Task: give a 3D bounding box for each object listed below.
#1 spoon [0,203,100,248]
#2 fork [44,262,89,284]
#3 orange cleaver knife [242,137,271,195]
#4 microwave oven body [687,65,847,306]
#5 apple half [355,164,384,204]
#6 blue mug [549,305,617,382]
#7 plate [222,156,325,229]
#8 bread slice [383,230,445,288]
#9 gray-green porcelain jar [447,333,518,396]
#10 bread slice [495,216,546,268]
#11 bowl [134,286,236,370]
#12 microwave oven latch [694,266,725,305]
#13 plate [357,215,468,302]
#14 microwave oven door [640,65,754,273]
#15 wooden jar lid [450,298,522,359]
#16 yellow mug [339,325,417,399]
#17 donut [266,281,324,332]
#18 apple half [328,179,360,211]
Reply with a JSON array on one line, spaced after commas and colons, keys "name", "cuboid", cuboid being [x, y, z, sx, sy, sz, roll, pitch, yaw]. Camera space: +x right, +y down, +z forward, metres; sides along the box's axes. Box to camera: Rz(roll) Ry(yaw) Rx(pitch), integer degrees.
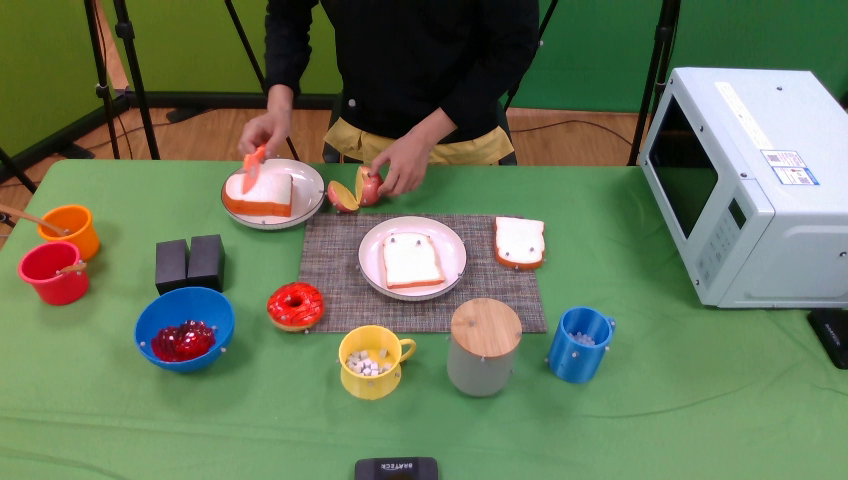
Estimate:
[{"name": "spoon", "cuboid": [-0.683, -0.031, 1.088, 0.195, 0.021, 0.041, 33, 33, -38]}, {"name": "fork", "cuboid": [-0.599, 0.053, 1.014, 0.207, 0.019, 0.028, -14, 30, 45]}, {"name": "orange cleaver knife", "cuboid": [-0.304, -0.138, 1.104, 0.012, 0.077, 0.210, 7, 21, -6]}, {"name": "microwave oven body", "cuboid": [0.669, -0.111, 1.176, 0.326, 0.261, 0.439, 0, 46, -3]}, {"name": "apple half", "cuboid": [-0.111, -0.114, 1.259, 0.053, 0.075, 0.080, 2, 47, -18]}, {"name": "blue mug", "cuboid": [0.269, 0.166, 0.998, 0.116, 0.106, 0.082, -19, 51, -21]}, {"name": "plate", "cuboid": [-0.308, -0.095, 1.251, 0.209, 0.038, 0.208, 2, 47, -2]}, {"name": "bread slice", "cuboid": [-0.028, 0.035, 1.145, 0.107, 0.018, 0.133, -7, 48, -12]}, {"name": "gray-green porcelain jar", "cuboid": [0.091, 0.178, 0.960, 0.106, 0.127, 0.105, 2, 46, -2]}, {"name": "bread slice", "cuboid": [0.194, 0.002, 1.204, 0.105, 0.019, 0.131, 5, 45, 2]}, {"name": "bowl", "cuboid": [-0.377, 0.155, 0.981, 0.151, 0.077, 0.150, 2, 46, -2]}, {"name": "microwave oven latch", "cuboid": [0.523, 0.082, 1.115, 0.030, 0.029, 0.078, 3, 46, 0]}, {"name": "plate", "cuboid": [-0.022, 0.037, 1.141, 0.208, 0.039, 0.206, 2, 46, -2]}, {"name": "microwave oven door", "cuboid": [0.522, -0.147, 1.193, 0.039, 0.245, 0.353, 0, 47, -3]}, {"name": "wooden jar lid", "cuboid": [0.093, 0.135, 0.914, 0.108, 0.021, 0.107, 3, 48, -3]}, {"name": "yellow mug", "cuboid": [-0.072, 0.190, 0.978, 0.131, 0.064, 0.099, -17, 50, -20]}, {"name": "donut", "cuboid": [-0.222, 0.115, 1.049, 0.099, 0.048, 0.098, 2, 45, -2]}, {"name": "apple half", "cuboid": [-0.170, -0.084, 1.247, 0.033, 0.082, 0.080, -37, 47, 17]}]
